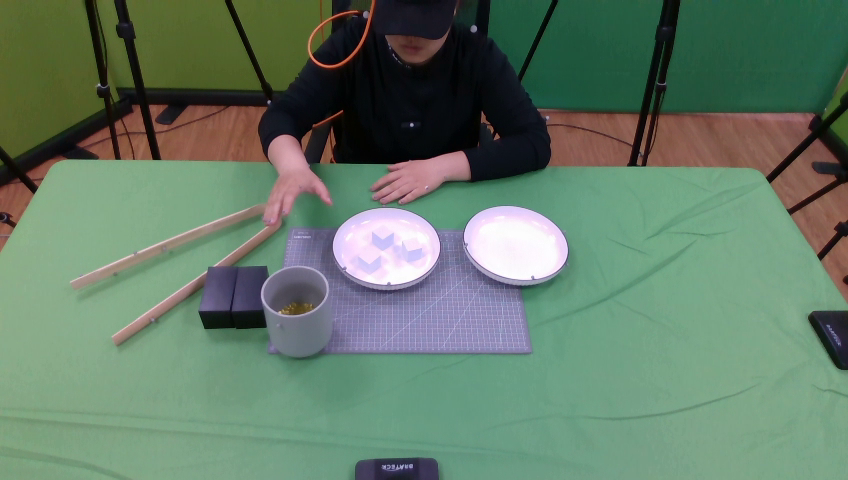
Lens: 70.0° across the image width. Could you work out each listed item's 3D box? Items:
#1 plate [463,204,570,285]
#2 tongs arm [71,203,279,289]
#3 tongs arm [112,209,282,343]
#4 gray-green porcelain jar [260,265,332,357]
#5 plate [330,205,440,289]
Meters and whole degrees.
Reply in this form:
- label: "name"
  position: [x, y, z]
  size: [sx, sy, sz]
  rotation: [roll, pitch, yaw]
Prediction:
- label: "plate"
  position: [0.178, 0.012, 1.184]
  size: [0.209, 0.038, 0.208]
  rotation: [3, 46, -3]
- label: "tongs arm"
  position: [-0.454, 0.011, 1.145]
  size: [0.385, 0.026, 0.050]
  rotation: [-29, 55, -29]
- label: "tongs arm"
  position: [-0.397, 0.057, 1.109]
  size: [0.028, 0.028, 0.387]
  rotation: [28, 50, 25]
- label: "gray-green porcelain jar"
  position: [-0.205, 0.121, 0.989]
  size: [0.106, 0.127, 0.105]
  rotation: [2, 46, -2]
- label: "plate"
  position: [-0.074, 0.017, 1.160]
  size: [0.208, 0.039, 0.206]
  rotation: [2, 46, -2]
